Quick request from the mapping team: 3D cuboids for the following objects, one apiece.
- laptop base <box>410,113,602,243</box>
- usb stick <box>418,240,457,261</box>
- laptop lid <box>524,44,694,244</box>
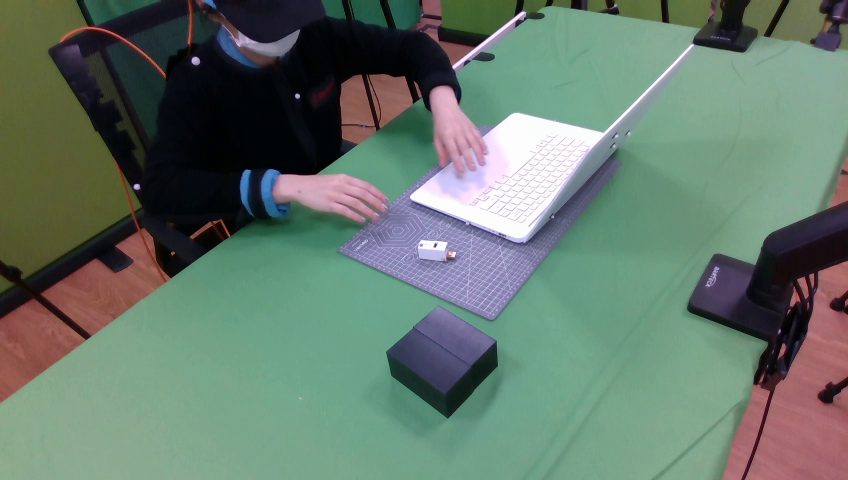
[{"bbox_3d":[0.171,-0.127,1.096,0.233,0.023,0.355,21,47,33],"label":"laptop base"},{"bbox_3d":[0.021,0.017,0.938,0.059,0.027,0.021,8,42,13],"label":"usb stick"},{"bbox_3d":[0.290,-0.151,0.941,0.013,0.241,0.358,40,54,12],"label":"laptop lid"}]
